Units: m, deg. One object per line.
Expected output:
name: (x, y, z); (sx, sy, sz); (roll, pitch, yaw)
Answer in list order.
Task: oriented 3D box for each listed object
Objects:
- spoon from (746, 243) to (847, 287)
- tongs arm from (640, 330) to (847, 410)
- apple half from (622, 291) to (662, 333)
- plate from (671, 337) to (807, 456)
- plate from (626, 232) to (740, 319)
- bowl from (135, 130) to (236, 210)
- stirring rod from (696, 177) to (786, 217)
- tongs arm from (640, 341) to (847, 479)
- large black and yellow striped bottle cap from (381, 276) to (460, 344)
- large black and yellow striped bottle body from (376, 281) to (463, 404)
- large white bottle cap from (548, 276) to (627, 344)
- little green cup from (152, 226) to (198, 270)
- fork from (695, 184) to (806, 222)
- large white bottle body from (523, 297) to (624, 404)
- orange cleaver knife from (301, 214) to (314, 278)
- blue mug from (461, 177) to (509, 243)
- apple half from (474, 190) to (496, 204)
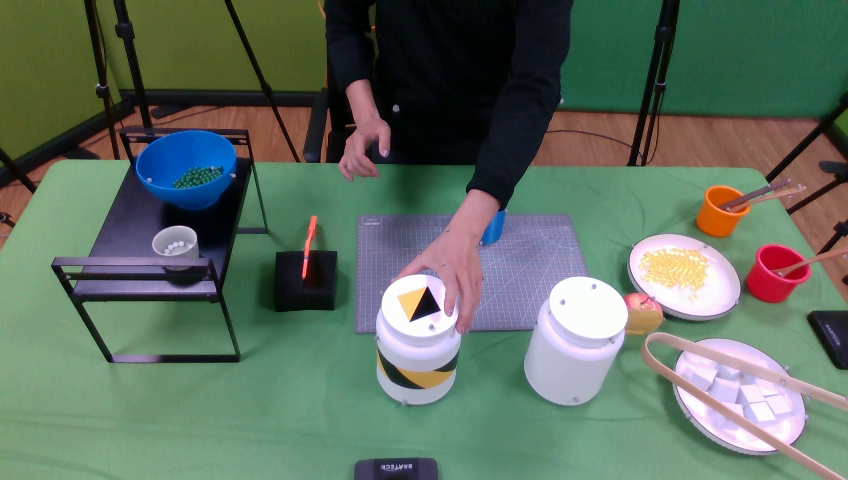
spoon: (0.702, 0.044, 1.126); (0.194, 0.022, 0.041); (-29, 38, 30)
tongs arm: (0.543, 0.226, 0.969); (0.384, 0.026, 0.050); (22, 52, 13)
apple half: (0.372, 0.123, 1.074); (0.081, 0.075, 0.053); (0, 43, 1)
plate: (0.504, 0.254, 0.984); (0.208, 0.039, 0.206); (2, 46, -2)
plate: (0.489, 0.070, 1.157); (0.209, 0.038, 0.208); (3, 46, -3)
bowl: (-0.375, -0.102, 0.978); (0.151, 0.077, 0.150); (3, 46, -2)
stirring rod: (0.648, -0.087, 1.244); (0.176, 0.006, 0.014); (-25, 50, 29)
tongs arm: (0.500, 0.277, 0.920); (0.386, 0.028, 0.028); (34, 59, 22)
large black and yellow striped bottle cap: (-0.006, 0.099, 0.875); (0.115, 0.019, 0.114); (2, 45, -2)
large black and yellow striped bottle body: (-0.010, 0.155, 0.937); (0.131, 0.185, 0.130); (2, 47, -2)
large white bottle cap: (0.240, 0.100, 0.890); (0.115, 0.018, 0.114); (3, 47, -3)
little green cup: (-0.364, 0.013, 0.894); (0.061, 0.039, 0.061); (3, 46, -3)
fork: (0.658, -0.074, 1.229); (0.207, 0.019, 0.028); (-24, 33, 36)
large white bottle body: (0.235, 0.159, 0.952); (0.131, 0.185, 0.130); (2, 47, -2)
orange cleaver knife: (-0.218, 0.008, 1.131); (0.012, 0.077, 0.210); (7, 19, -9)
blue mug: (0.114, -0.070, 1.211); (0.082, 0.106, 0.115); (-12, 48, -15)
apple half: (0.109, -0.067, 1.200); (0.032, 0.081, 0.081); (28, 50, 12)
